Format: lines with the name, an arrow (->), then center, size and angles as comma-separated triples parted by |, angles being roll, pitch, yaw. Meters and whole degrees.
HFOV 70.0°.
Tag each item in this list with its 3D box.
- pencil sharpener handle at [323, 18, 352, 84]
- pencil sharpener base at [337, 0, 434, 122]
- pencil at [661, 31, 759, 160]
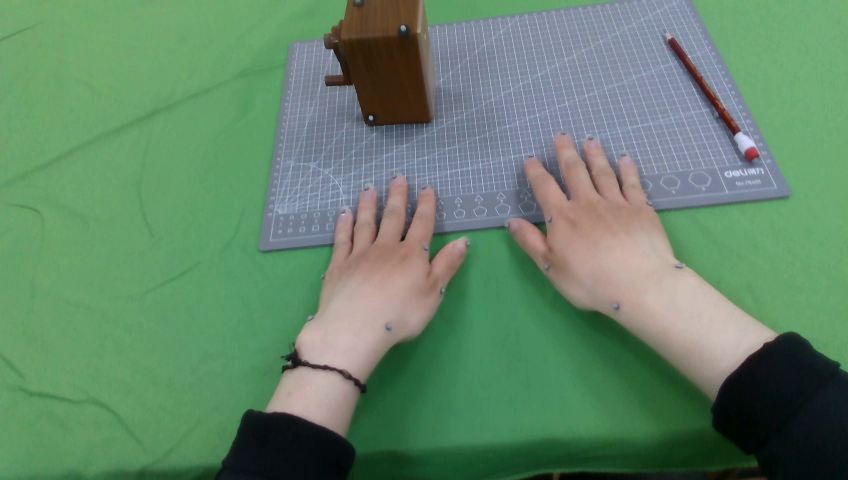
pencil sharpener handle -> -0.086, -0.174, 0.569 | 0.030, 0.068, 0.035 | -3, 53, 7
pencil sharpener base -> -0.034, -0.169, 0.573 | 0.076, 0.108, 0.061 | -3, 54, 7
pencil -> 0.264, -0.144, 0.573 | 0.012, 0.012, 0.192 | -12, 52, 0
